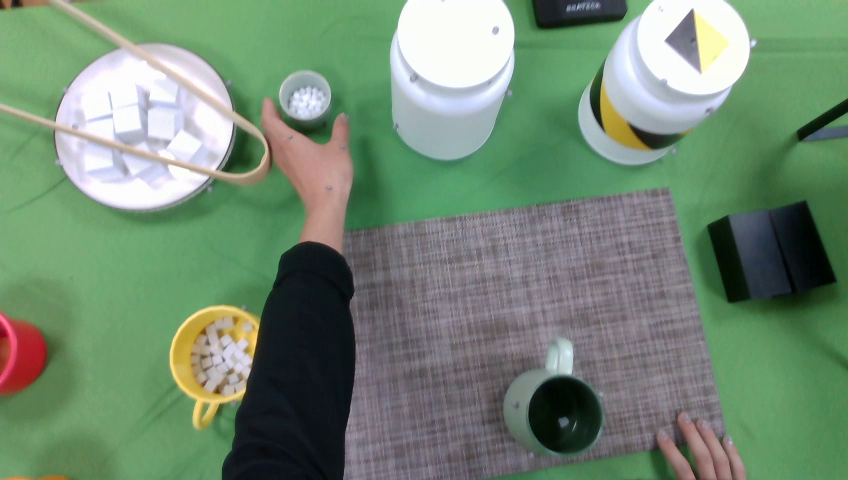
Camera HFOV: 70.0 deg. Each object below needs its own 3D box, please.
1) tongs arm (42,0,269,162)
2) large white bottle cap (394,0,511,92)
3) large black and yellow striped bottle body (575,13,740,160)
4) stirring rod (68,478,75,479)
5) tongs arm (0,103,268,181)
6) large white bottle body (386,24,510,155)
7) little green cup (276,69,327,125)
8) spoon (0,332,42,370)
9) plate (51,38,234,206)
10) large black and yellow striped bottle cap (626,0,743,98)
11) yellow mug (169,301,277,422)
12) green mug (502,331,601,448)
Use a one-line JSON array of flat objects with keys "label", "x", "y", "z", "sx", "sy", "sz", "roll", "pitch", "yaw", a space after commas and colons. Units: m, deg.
[{"label": "tongs arm", "x": -0.332, "y": -0.206, "z": 0.706, "sx": 0.386, "sy": 0.028, "sz": 0.028, "roll": 33, "pitch": 72, "yaw": 6}, {"label": "large white bottle cap", "x": 0.028, "y": -0.201, "z": 0.594, "sx": 0.115, "sy": 0.018, "sz": 0.114, "roll": 1, "pitch": 79, "yaw": -3}, {"label": "large black and yellow striped bottle body", "x": 0.259, "y": -0.180, "z": 0.689, "sx": 0.131, "sy": 0.184, "sz": 0.130, "roll": 1, "pitch": 78, "yaw": -2}, {"label": "stirring rod", "x": -0.413, "y": 0.294, "z": 0.580, "sx": 0.014, "sy": 0.006, "sz": 0.176, "roll": 42, "pitch": 37, "yaw": 5}, {"label": "tongs arm", "x": -0.367, "y": -0.133, "z": 0.687, "sx": 0.384, "sy": 0.026, "sz": 0.050, "roll": 19, "pitch": 74, "yaw": 3}, {"label": "large white bottle body", "x": 0.024, "y": -0.184, "z": 0.676, "sx": 0.131, "sy": 0.185, "sz": 0.130, "roll": 1, "pitch": 78, "yaw": -2}, {"label": "little green cup", "x": -0.147, "y": -0.172, "z": 0.739, "sx": 0.061, "sy": 0.039, "sz": 0.061, "roll": 0, "pitch": 80, "yaw": -2}, {"label": "spoon", "x": -0.499, "y": 0.111, "z": 0.610, "sx": 0.195, "sy": 0.021, "sz": 0.041, "roll": 11, "pitch": 72, "yaw": -45}, {"label": "plate", "x": -0.329, "y": -0.138, "z": 0.723, "sx": 0.208, "sy": 0.039, "sz": 0.206, "roll": 1, "pitch": 79, "yaw": -3}, {"label": "large black and yellow striped bottle cap", "x": 0.262, "y": -0.199, "z": 0.607, "sx": 0.115, "sy": 0.019, "sz": 0.114, "roll": 1, "pitch": 79, "yaw": -4}, {"label": "yellow mug", "x": -0.221, "y": 0.134, "z": 0.660, "sx": 0.100, "sy": 0.064, "sz": 0.130, "roll": 17, "pitch": 80, "yaw": 0}, {"label": "green mug", "x": 0.137, "y": 0.160, "z": 0.651, "sx": 0.092, "sy": 0.105, "sz": 0.125, "roll": 8, "pitch": 78, "yaw": -1}]
